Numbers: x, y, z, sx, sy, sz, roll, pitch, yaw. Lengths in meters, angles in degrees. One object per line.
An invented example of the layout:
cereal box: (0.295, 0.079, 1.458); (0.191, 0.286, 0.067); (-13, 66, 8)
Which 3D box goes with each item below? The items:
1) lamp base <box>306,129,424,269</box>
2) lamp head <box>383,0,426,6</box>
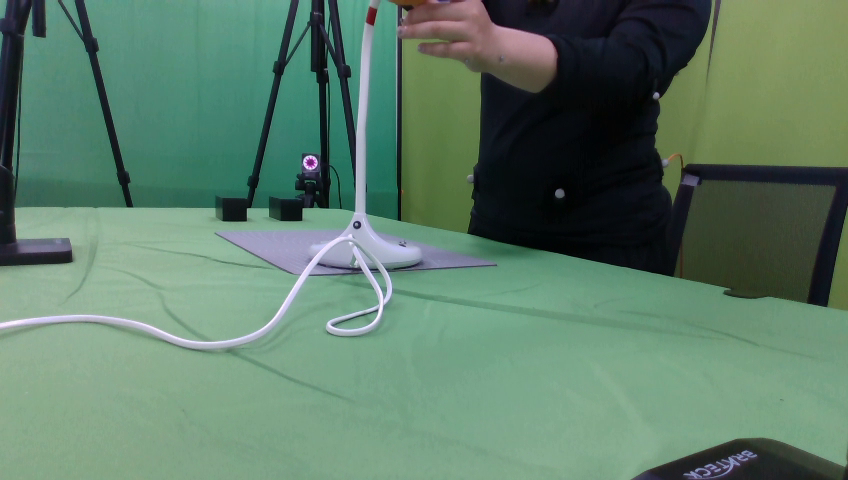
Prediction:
lamp base: (-0.077, -0.057, 0.810); (0.161, 0.180, 0.179); (2, 10, -4)
lamp head: (-0.024, -0.325, 0.671); (0.112, 0.123, 0.112); (4, 3, 0)
